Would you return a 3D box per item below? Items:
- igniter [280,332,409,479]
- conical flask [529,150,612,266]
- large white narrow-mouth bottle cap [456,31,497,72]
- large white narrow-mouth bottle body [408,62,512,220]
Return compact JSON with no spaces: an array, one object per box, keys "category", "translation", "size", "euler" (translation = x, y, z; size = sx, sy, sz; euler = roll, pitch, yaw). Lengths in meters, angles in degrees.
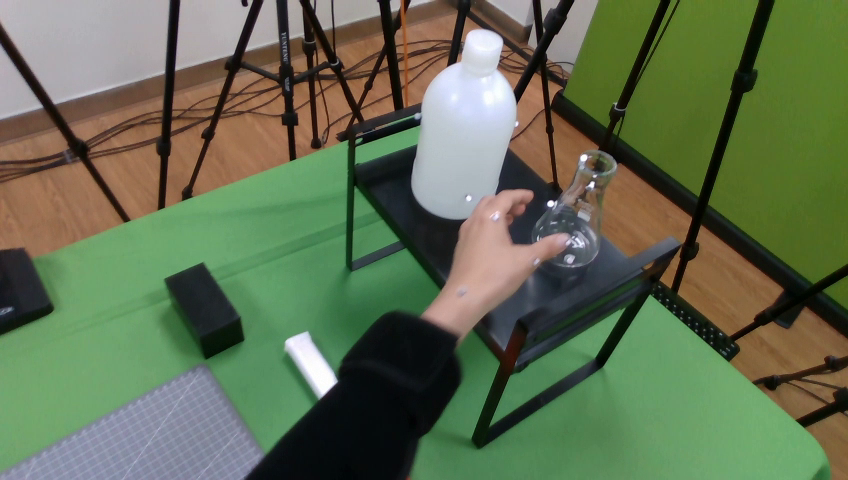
[{"category":"igniter","translation":[-0.082,0.210,0.679],"size":[0.057,0.025,0.274],"euler":[-19,54,-37]},{"category":"conical flask","translation":[0.159,-0.036,0.630],"size":[0.075,0.123,0.074],"euler":[4,48,-5]},{"category":"large white narrow-mouth bottle cap","translation":[0.049,-0.178,0.571],"size":[0.038,0.024,0.037],"euler":[5,48,-5]},{"category":"large white narrow-mouth bottle body","translation":[0.039,-0.119,0.635],"size":[0.102,0.196,0.101],"euler":[5,48,-5]}]
